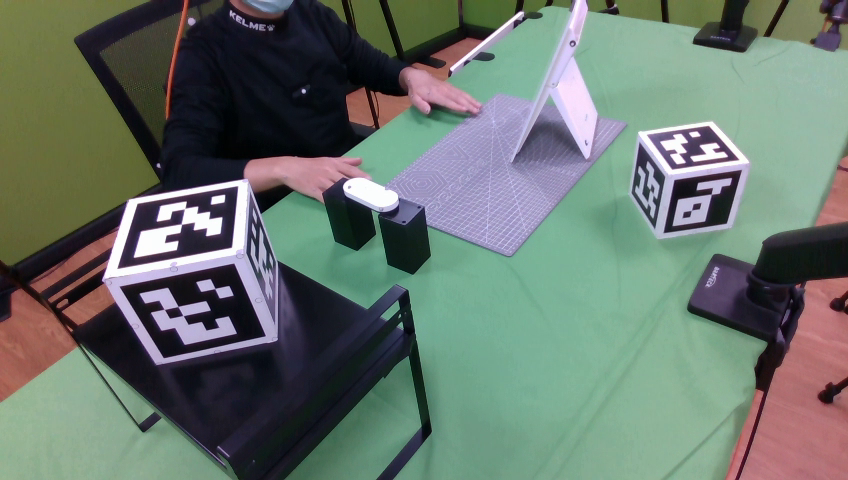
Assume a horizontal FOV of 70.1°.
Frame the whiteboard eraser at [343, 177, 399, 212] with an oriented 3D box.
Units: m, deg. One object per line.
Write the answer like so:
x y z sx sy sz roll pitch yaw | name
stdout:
-0.081 -0.069 0.909 0.100 0.019 0.041 25 50 34 | whiteboard eraser

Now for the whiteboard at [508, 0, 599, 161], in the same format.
0.285 -0.289 1.090 0.144 0.305 0.217 22 45 3 | whiteboard
